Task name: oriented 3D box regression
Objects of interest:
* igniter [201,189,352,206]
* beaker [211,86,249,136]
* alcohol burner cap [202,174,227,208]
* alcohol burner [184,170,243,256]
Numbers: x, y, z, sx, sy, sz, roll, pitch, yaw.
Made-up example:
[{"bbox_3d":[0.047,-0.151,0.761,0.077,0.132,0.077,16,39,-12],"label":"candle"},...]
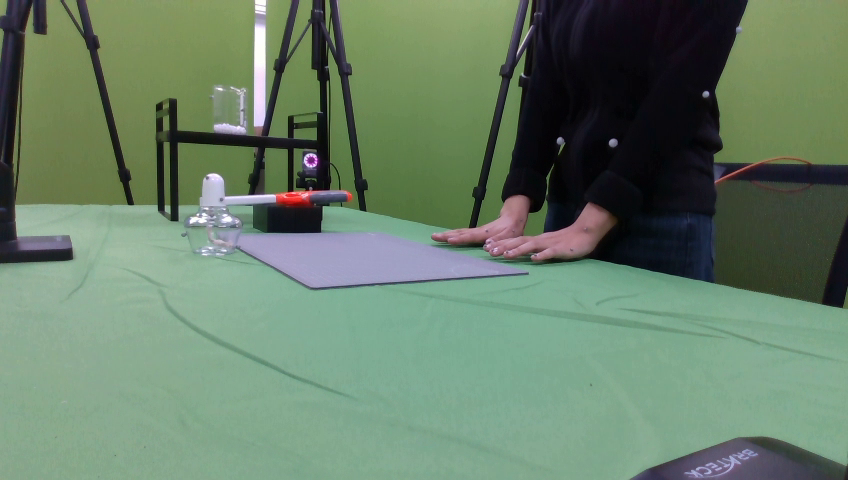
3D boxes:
[{"bbox_3d":[-0.272,-0.078,1.139,0.278,0.025,0.057,-5,10,-27],"label":"igniter"},{"bbox_3d":[-0.413,-0.274,1.297,0.074,0.100,0.083,-5,11,-44],"label":"beaker"},{"bbox_3d":[-0.293,-0.068,0.847,0.034,0.048,0.034,0,6,0],"label":"alcohol burner cap"},{"bbox_3d":[-0.296,-0.038,0.851,0.078,0.119,0.078,2,5,0],"label":"alcohol burner"}]
